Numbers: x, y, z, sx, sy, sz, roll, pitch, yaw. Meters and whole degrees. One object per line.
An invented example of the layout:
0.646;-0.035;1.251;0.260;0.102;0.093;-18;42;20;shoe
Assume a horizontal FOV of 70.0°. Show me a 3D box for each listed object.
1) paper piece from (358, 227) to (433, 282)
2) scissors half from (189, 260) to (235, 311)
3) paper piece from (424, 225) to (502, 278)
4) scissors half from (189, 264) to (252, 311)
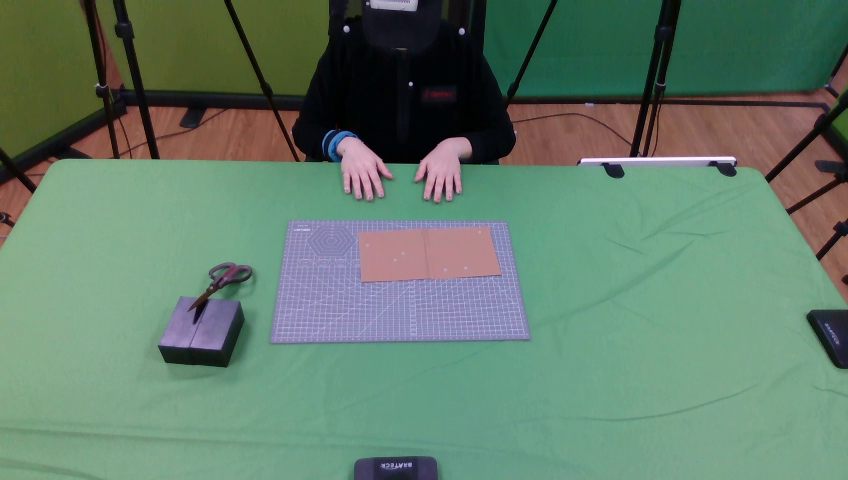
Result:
-0.058;0.025;1.173;0.136;0.004;0.134;-3;48;-6;paper piece
-0.372;0.077;1.056;0.040;0.013;0.174;13;25;-4;scissors half
0.074;0.020;1.190;0.138;0.009;0.135;-2;50;-7;paper piece
-0.353;0.082;1.055;0.040;0.013;0.175;15;26;14;scissors half
